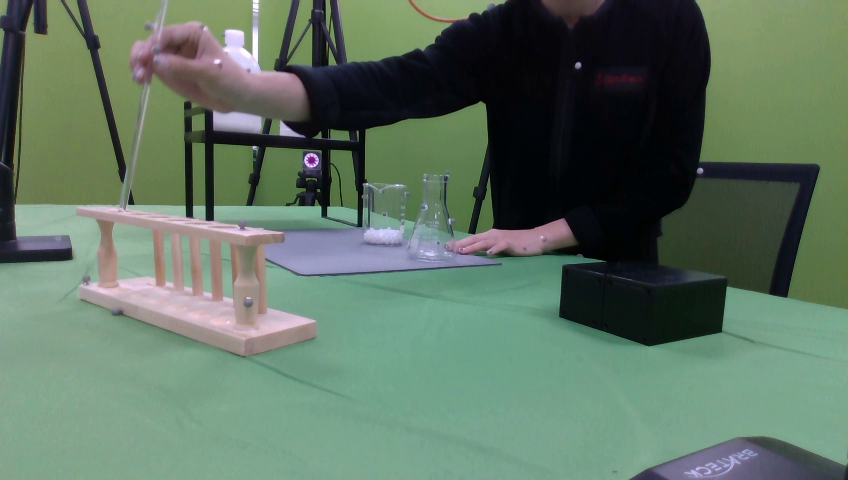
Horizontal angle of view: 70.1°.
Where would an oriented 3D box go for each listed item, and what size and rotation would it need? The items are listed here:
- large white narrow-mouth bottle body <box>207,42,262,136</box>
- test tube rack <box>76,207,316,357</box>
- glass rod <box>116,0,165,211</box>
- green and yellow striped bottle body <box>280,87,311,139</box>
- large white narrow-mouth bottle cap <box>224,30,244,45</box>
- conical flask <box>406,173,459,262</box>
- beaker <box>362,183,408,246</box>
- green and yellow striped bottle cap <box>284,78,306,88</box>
[{"bbox_3d":[-0.369,-0.303,1.180,0.102,0.194,0.102,2,9,0],"label":"large white narrow-mouth bottle body"},{"bbox_3d":[-0.196,0.023,0.500,0.241,0.085,0.067,8,9,36],"label":"test tube rack"},{"bbox_3d":[-0.248,-0.116,0.528,0.008,0.199,0.008,10,-2,1],"label":"glass rod"},{"bbox_3d":[-0.269,-0.274,1.266,0.063,0.119,0.063,3,7,0],"label":"green and yellow striped bottle body"},{"bbox_3d":[-0.365,-0.389,1.165,0.038,0.024,0.037,3,9,0],"label":"large white narrow-mouth bottle cap"},{"bbox_3d":[0.014,-0.033,0.851,0.075,0.122,0.075,2,7,0],"label":"conical flask"},{"bbox_3d":[-0.066,-0.043,0.996,0.074,0.100,0.084,3,8,6],"label":"beaker"},{"bbox_3d":[-0.268,-0.325,1.259,0.045,0.020,0.045,5,7,0],"label":"green and yellow striped bottle cap"}]
